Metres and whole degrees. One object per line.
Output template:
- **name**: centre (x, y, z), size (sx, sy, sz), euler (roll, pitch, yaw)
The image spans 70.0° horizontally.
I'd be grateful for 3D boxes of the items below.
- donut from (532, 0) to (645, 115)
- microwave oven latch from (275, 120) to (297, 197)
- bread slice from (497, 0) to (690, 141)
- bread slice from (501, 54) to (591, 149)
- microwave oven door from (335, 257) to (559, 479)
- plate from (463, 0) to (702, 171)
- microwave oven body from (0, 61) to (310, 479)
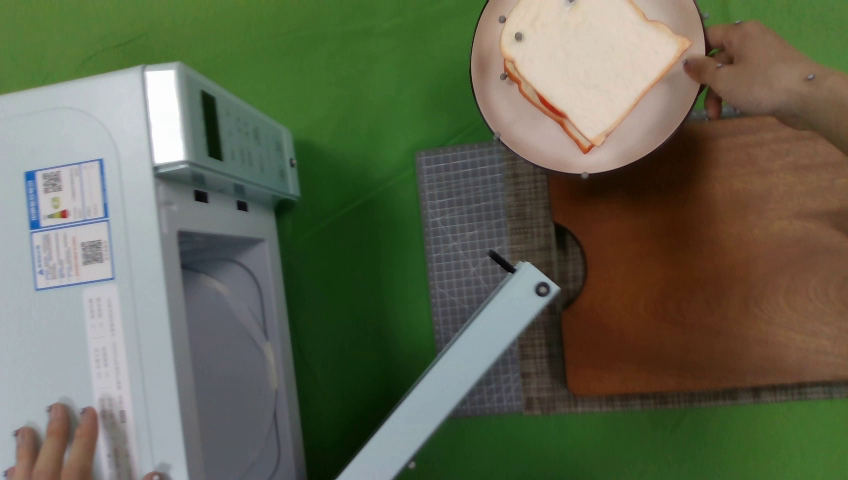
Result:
- **donut**: centre (0.142, -0.159, 0.532), size (0.099, 0.048, 0.099), euler (0, 95, -2)
- **microwave oven latch**: centre (-0.161, -0.089, 0.666), size (0.030, 0.029, 0.079), euler (-9, 88, 7)
- **bread slice**: centre (0.128, -0.161, 0.503), size (0.134, 0.018, 0.107), euler (40, 103, 9)
- **bread slice**: centre (0.136, -0.165, 0.562), size (0.131, 0.019, 0.105), euler (41, 100, 2)
- **microwave oven door**: centre (-0.012, 0.161, 0.539), size (0.039, 0.244, 0.356), euler (40, 94, 8)
- **plate**: centre (0.142, -0.168, 0.559), size (0.207, 0.039, 0.208), euler (1, 97, 10)
- **microwave oven body**: centre (-0.294, 0.106, 0.584), size (0.326, 0.260, 0.441), euler (-9, 88, 7)
